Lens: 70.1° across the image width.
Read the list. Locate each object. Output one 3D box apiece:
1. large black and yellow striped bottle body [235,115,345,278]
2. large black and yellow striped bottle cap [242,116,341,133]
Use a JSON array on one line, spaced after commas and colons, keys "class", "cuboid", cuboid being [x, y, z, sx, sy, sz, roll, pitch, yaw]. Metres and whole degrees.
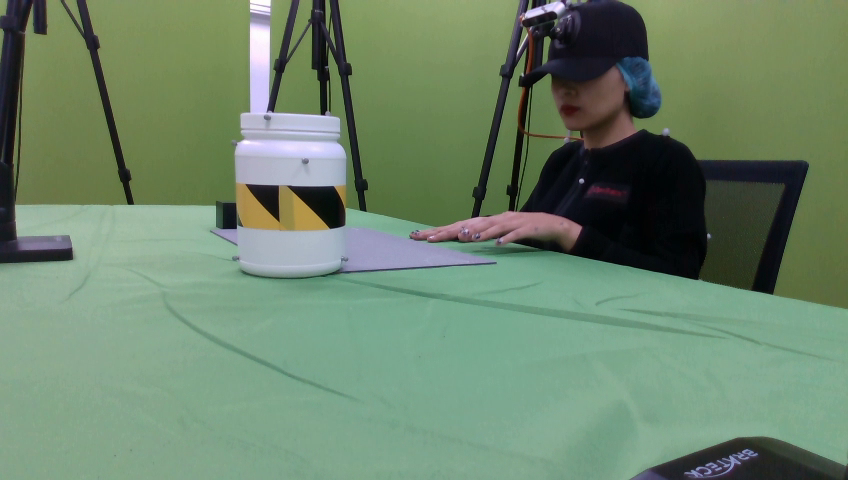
[{"class": "large black and yellow striped bottle body", "cuboid": [-0.160, -0.055, 0.732, 0.131, 0.184, 0.130, 2, 9, 0]}, {"class": "large black and yellow striped bottle cap", "cuboid": [-0.157, -0.137, 0.718, 0.115, 0.019, 0.115, 1, 10, 0]}]
